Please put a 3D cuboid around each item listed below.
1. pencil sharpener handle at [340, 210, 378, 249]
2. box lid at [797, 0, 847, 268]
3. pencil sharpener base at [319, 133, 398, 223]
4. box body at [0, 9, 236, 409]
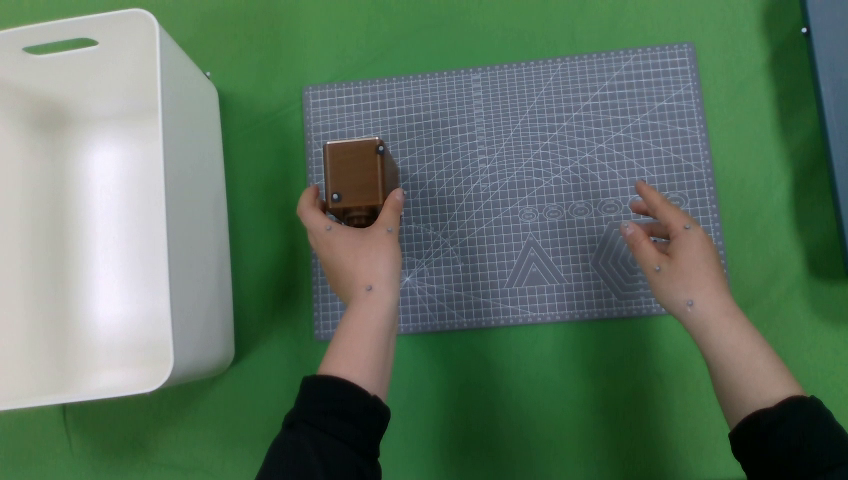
[{"bbox_3d":[-0.061,-0.010,0.618,0.036,0.068,0.030,-7,81,12],"label":"pencil sharpener handle"},{"bbox_3d":[0.526,-0.146,0.599,0.263,0.015,0.370,-5,82,5],"label":"box lid"},{"bbox_3d":[-0.065,-0.058,0.637,0.061,0.107,0.076,-5,81,5],"label":"pencil sharpener base"},{"bbox_3d":[-0.352,-0.020,0.636,0.254,0.161,0.362,-8,81,4],"label":"box body"}]
